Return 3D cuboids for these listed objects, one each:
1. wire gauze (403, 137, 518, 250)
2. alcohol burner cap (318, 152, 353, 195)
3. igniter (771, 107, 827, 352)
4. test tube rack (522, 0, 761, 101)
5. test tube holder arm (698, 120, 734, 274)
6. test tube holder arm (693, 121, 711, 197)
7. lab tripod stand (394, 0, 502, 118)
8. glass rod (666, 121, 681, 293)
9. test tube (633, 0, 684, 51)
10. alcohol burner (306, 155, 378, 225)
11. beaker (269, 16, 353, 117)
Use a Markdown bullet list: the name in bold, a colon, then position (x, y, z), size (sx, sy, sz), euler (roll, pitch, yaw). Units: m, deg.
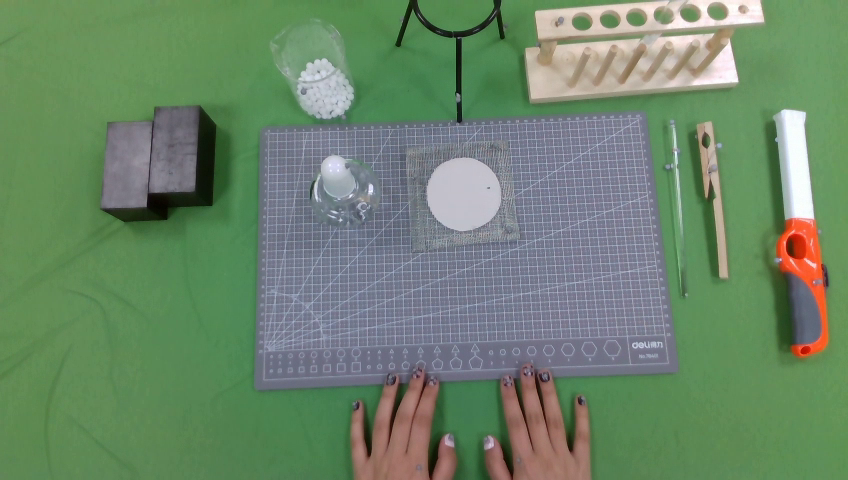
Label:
- **wire gauze**: position (0.040, -0.055, 0.686), size (0.121, 0.011, 0.124), euler (-5, 81, -1)
- **alcohol burner cap**: position (-0.089, -0.069, 0.599), size (0.034, 0.048, 0.033), euler (1, 68, -1)
- **igniter**: position (0.410, -0.015, 0.667), size (0.057, 0.025, 0.275), euler (5, 77, -9)
- **test tube rack**: position (0.240, -0.216, 0.683), size (0.242, 0.085, 0.066), euler (-5, 77, 0)
- **test tube holder arm**: position (0.326, -0.050, 0.677), size (0.013, 0.015, 0.177), euler (-14, 73, 36)
- **test tube holder arm**: position (0.318, -0.092, 0.690), size (0.010, 0.015, 0.087), euler (-12, 74, 37)
- **lab tripod stand**: position (0.028, -0.228, 0.662), size (0.148, 0.132, 0.147), euler (-1, 76, 3)
- **glass rod**: position (0.281, -0.039, 0.683), size (0.008, 0.008, 0.199), euler (1, 80, 1)
- **test tube**: position (0.257, -0.244, 0.638), size (0.017, 0.150, 0.017), euler (1, 76, -5)
- **alcohol burner**: position (-0.088, -0.058, 0.634), size (0.078, 0.119, 0.077), euler (0, 75, 2)
- **beaker**: position (-0.121, -0.187, 0.673), size (0.084, 0.101, 0.073), euler (16, 77, 5)
